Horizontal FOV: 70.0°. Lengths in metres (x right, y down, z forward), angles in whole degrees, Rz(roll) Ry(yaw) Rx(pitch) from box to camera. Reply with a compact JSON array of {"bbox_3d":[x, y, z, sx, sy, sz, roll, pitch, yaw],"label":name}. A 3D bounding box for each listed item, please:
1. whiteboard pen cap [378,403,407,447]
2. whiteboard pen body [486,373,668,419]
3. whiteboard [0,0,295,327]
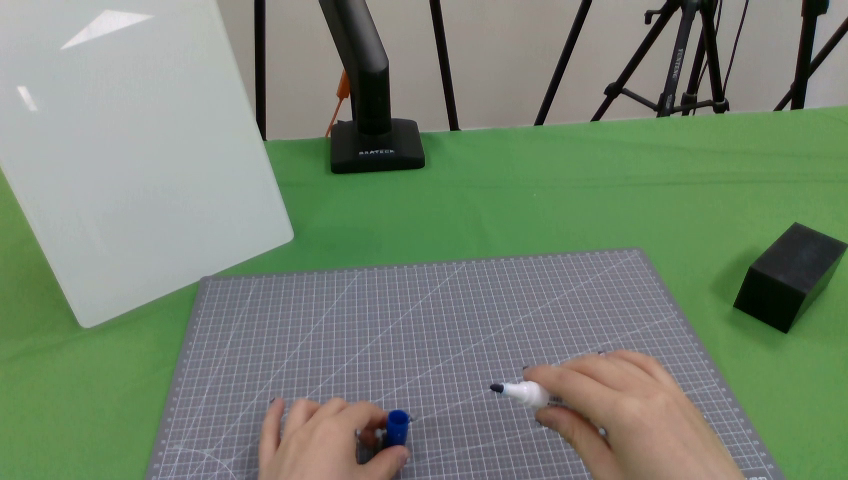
[{"bbox_3d":[-0.022,0.131,0.433,0.018,0.033,0.018,8,33,-5],"label":"whiteboard pen cap"},{"bbox_3d":[0.099,0.098,0.383,0.142,0.017,0.017,15,33,-23],"label":"whiteboard pen body"},{"bbox_3d":[-0.294,-0.114,0.591,0.217,0.307,0.142,-27,26,-29],"label":"whiteboard"}]
